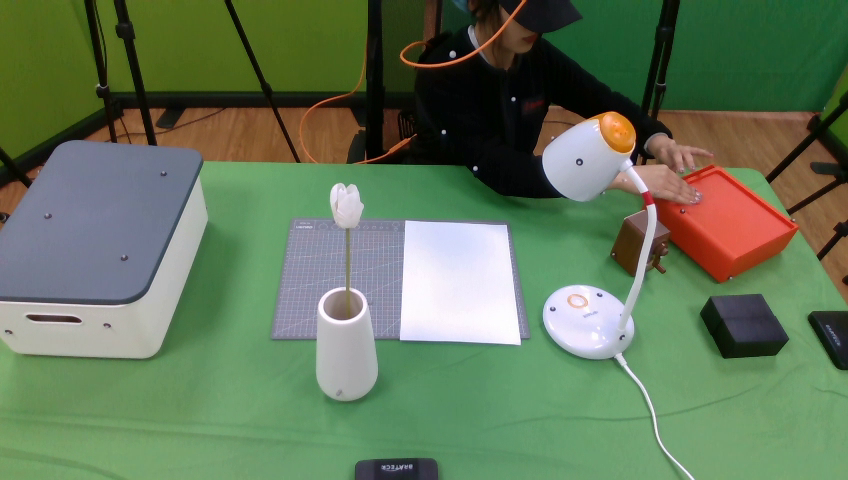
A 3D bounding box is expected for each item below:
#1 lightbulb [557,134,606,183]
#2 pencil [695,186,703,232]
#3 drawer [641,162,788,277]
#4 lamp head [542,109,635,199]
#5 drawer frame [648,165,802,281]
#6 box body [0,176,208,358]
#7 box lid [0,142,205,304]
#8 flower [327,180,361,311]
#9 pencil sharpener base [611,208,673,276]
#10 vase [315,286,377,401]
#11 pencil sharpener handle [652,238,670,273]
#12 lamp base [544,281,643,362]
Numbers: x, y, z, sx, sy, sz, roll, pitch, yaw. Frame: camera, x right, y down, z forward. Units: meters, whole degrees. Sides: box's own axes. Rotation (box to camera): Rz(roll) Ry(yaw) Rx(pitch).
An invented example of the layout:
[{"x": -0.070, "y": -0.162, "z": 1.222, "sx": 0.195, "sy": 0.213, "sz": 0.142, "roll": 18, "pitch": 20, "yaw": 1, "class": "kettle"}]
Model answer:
[{"x": 0.242, "y": -0.127, "z": 0.916, "sx": 0.059, "sy": 0.108, "sz": 0.059, "roll": 5, "pitch": 67, "yaw": -12, "class": "lightbulb"}, {"x": 0.577, "y": -0.067, "z": 1.269, "sx": 0.012, "sy": 0.012, "sz": 0.193, "roll": 16, "pitch": 36, "yaw": 12, "class": "pencil"}, {"x": 0.596, "y": -0.047, "z": 1.254, "sx": 0.195, "sy": 0.073, "sz": 0.210, "roll": -21, "pitch": 56, "yaw": -23, "class": "drawer"}, {"x": 0.253, "y": -0.131, "z": 0.893, "sx": 0.113, "sy": 0.123, "sz": 0.112, "roll": 10, "pitch": 66, "yaw": -24, "class": "lamp head"}, {"x": 0.603, "y": -0.041, "z": 1.235, "sx": 0.202, "sy": 0.083, "sz": 0.212, "roll": -21, "pitch": 51, "yaw": -23, "class": "drawer frame"}, {"x": -0.546, "y": 0.017, "z": 1.045, "sx": 0.254, "sy": 0.161, "sz": 0.361, "roll": 2, "pitch": 46, "yaw": -2, "class": "box body"}, {"x": -0.534, "y": -0.044, "z": 0.995, "sx": 0.263, "sy": 0.015, "sz": 0.369, "roll": 3, "pitch": 45, "yaw": -3, "class": "box lid"}, {"x": -0.110, "y": 0.086, "z": 0.867, "sx": 0.044, "sy": 0.363, "sz": 0.038, "roll": 22, "pitch": 34, "yaw": 36, "class": "flower"}, {"x": 0.416, "y": 0.007, "z": 1.158, "sx": 0.061, "sy": 0.107, "sz": 0.076, "roll": -20, "pitch": 51, "yaw": -22, "class": "pencil sharpener base"}, {"x": -0.119, "y": 0.159, "z": 0.911, "sx": 0.098, "sy": 0.201, "sz": 0.097, "roll": 2, "pitch": 47, "yaw": -2, "class": "vase"}, {"x": 0.443, "y": 0.030, "z": 1.120, "sx": 0.036, "sy": 0.068, "sz": 0.030, "roll": -24, "pitch": 52, "yaw": -17, "class": "pencil sharpener handle"}, {"x": 0.304, "y": 0.095, "z": 1.014, "sx": 0.161, "sy": 0.181, "sz": 0.178, "roll": -24, "pitch": 54, "yaw": -24, "class": "lamp base"}]
